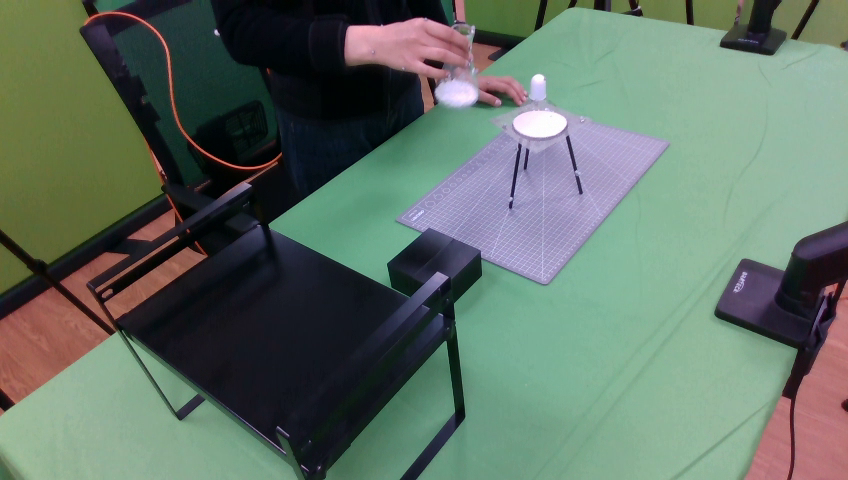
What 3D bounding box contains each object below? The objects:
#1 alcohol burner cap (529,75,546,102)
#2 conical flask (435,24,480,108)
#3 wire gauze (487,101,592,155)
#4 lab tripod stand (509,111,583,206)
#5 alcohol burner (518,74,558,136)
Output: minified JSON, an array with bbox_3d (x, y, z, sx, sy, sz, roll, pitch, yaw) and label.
[{"bbox_3d":[0.218,-0.292,1.156,0.034,0.048,0.033,-3,46,4],"label":"alcohol burner cap"},{"bbox_3d":[0.056,-0.277,0.954,0.075,0.122,0.075,1,51,-1],"label":"conical flask"},{"bbox_3d":[0.185,-0.188,0.974,0.122,0.011,0.124,-27,45,-22],"label":"wire gauze"},{"bbox_3d":[0.197,-0.139,1.020,0.148,0.132,0.147,-3,39,3],"label":"lab tripod stand"},{"bbox_3d":[0.222,-0.265,1.179,0.078,0.119,0.077,-5,39,5],"label":"alcohol burner"}]
